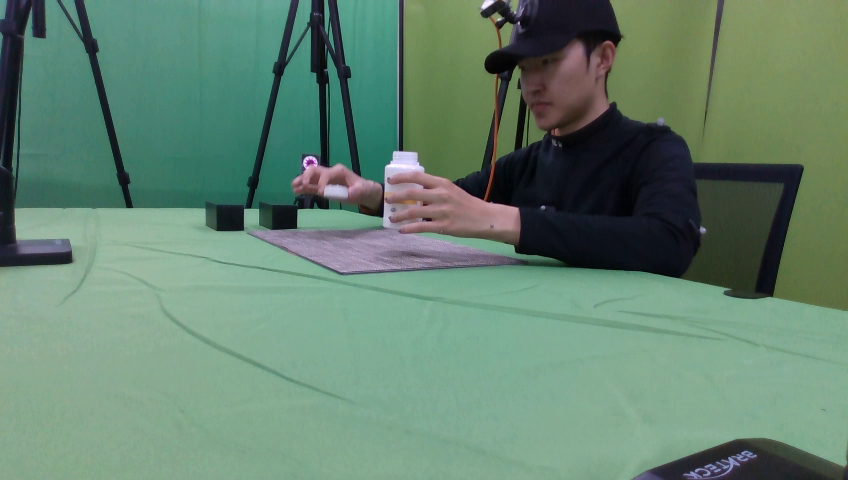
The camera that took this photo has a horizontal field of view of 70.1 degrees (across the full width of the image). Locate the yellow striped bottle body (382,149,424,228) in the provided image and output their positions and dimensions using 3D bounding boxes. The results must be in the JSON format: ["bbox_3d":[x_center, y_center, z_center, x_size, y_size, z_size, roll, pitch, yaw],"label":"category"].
[{"bbox_3d":[-0.032,-0.080,0.940,0.063,0.120,0.063,3,6,0],"label":"yellow striped bottle body"}]

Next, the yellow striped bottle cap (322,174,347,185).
[{"bbox_3d":[-0.164,-0.111,1.106,0.044,0.018,0.044,3,9,0],"label":"yellow striped bottle cap"}]
